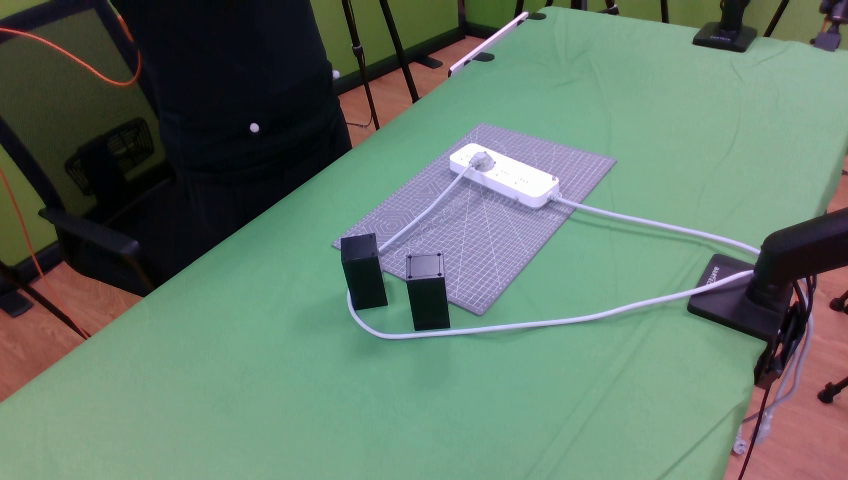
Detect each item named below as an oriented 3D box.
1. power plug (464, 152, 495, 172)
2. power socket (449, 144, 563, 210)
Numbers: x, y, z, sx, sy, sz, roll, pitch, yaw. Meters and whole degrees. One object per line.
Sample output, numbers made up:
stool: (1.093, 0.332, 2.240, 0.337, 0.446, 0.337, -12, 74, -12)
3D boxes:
power plug: (0.093, -0.127, 1.065, 0.073, 0.053, 0.035, -29, 44, -21)
power socket: (0.139, -0.115, 1.072, 0.225, 0.033, 0.072, 30, 53, 35)
